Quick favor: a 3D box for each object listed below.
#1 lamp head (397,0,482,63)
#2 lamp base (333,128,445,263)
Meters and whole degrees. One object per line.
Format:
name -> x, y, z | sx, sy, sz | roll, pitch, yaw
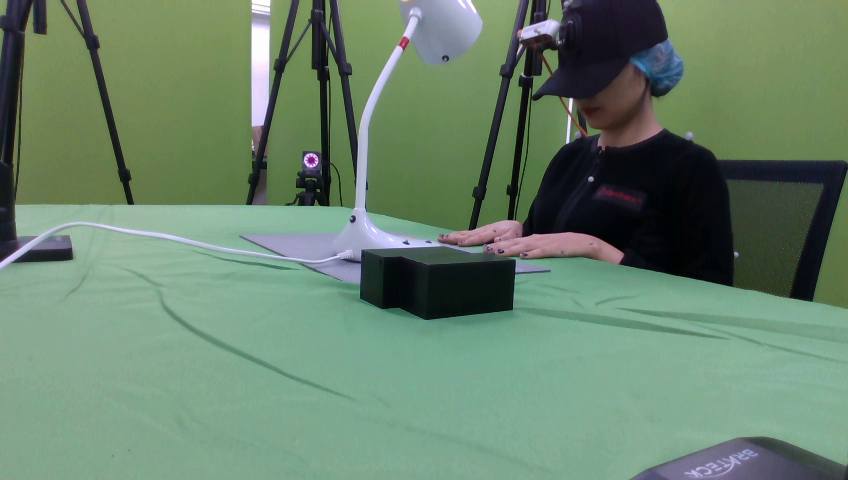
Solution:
lamp head -> 0.011, -0.341, 0.899 | 0.112, 0.112, 0.123 | 7, -21, 37
lamp base -> -0.054, -0.064, 0.842 | 0.160, 0.180, 0.180 | 6, 11, 29
